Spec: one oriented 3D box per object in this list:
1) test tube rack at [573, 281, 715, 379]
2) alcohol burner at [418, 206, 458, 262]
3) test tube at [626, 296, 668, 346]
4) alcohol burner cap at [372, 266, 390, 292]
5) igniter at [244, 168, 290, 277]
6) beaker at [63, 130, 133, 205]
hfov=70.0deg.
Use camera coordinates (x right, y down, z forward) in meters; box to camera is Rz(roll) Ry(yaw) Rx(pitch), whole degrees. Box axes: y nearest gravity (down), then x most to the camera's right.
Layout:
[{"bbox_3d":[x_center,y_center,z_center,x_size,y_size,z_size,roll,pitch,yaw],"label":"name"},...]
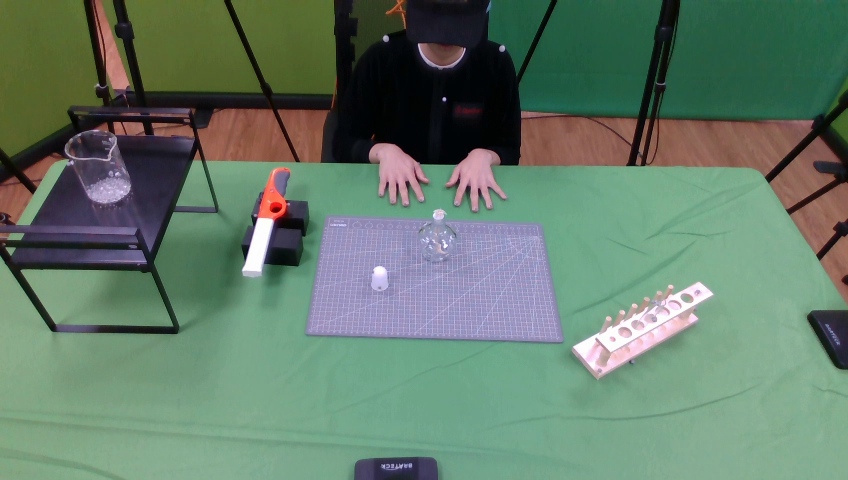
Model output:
[{"bbox_3d":[0.378,0.140,1.038,0.242,0.085,0.066,-22,51,-23],"label":"test tube rack"},{"bbox_3d":[0.027,-0.016,1.144,0.078,0.120,0.077,0,45,0],"label":"alcohol burner"},{"bbox_3d":[0.352,0.133,0.970,0.017,0.151,0.017,3,54,-4],"label":"test tube"},{"bbox_3d":[-0.080,0.069,1.105,0.034,0.048,0.033,1,46,0],"label":"alcohol burner cap"},{"bbox_3d":[-0.295,-0.043,1.147,0.057,0.025,0.275,5,48,-3],"label":"igniter"},{"bbox_3d":[-0.511,-0.112,0.964,0.083,0.101,0.074,31,52,23],"label":"beaker"}]
